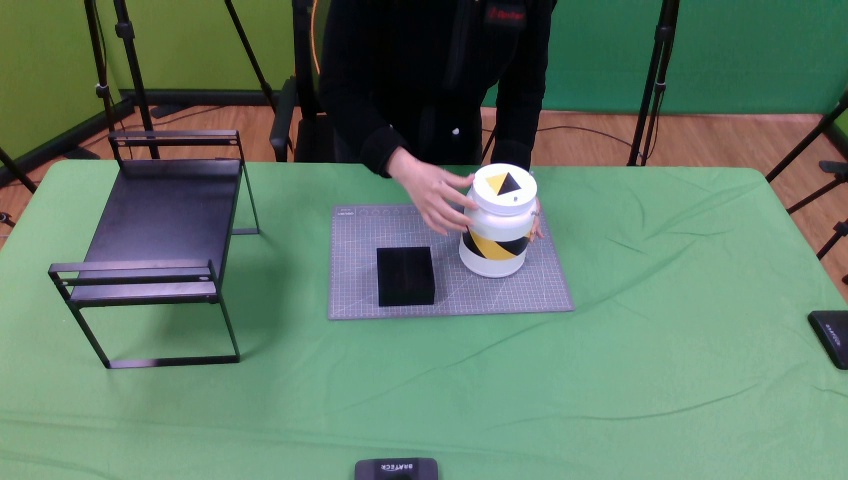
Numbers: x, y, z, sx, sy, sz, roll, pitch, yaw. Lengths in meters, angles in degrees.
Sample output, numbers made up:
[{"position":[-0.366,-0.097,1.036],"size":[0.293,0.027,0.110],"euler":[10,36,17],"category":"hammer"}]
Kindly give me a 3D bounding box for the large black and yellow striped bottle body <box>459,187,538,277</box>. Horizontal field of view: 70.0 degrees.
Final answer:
[{"position":[0.137,-0.035,1.122],"size":[0.131,0.185,0.130],"euler":[2,46,-2],"category":"large black and yellow striped bottle body"}]

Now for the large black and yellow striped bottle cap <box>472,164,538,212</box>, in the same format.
[{"position":[0.142,-0.093,1.061],"size":[0.115,0.019,0.114],"euler":[2,45,-2],"category":"large black and yellow striped bottle cap"}]
